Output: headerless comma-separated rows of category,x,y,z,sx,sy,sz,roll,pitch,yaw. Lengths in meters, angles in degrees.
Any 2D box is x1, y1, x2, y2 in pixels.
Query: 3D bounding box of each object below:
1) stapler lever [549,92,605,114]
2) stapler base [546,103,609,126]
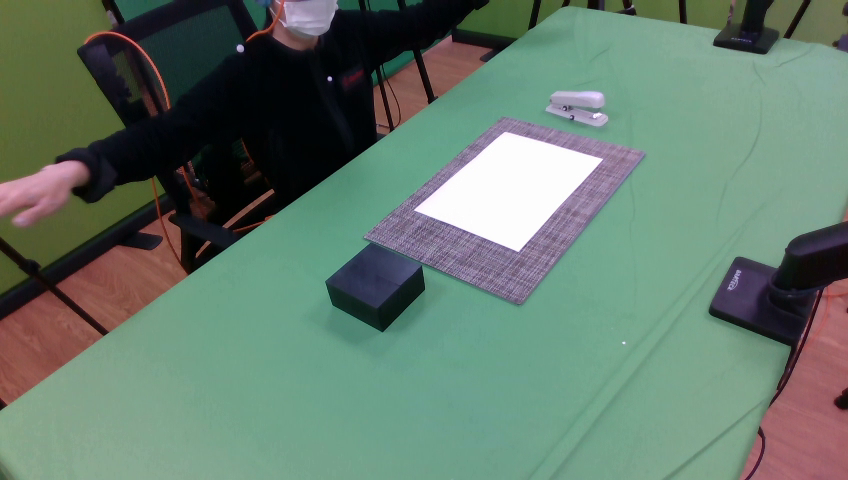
stapler lever,0.309,-0.285,1.220,0.117,0.040,0.027,26,49,35
stapler base,0.313,-0.266,1.235,0.129,0.024,0.041,26,48,35
